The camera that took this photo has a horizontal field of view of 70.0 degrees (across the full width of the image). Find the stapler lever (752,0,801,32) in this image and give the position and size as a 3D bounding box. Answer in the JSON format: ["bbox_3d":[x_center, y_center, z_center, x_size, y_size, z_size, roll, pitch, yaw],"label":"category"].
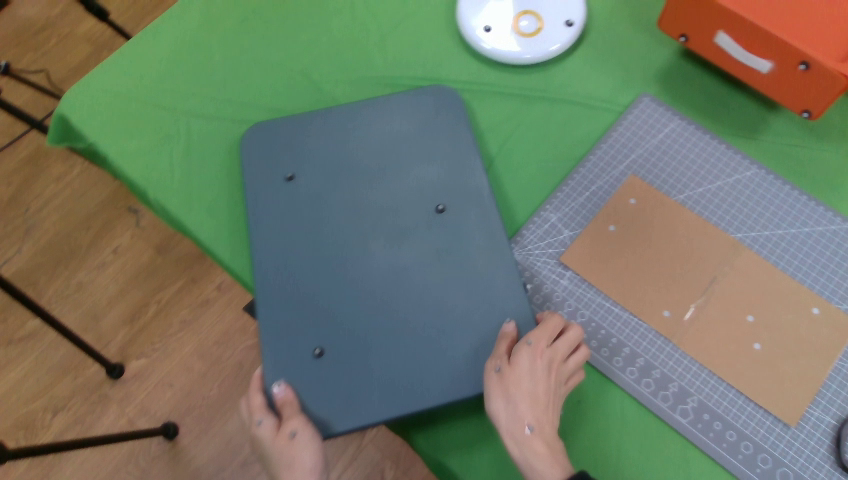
[{"bbox_3d":[0.361,-0.272,0.648,0.027,0.040,0.117,-23,64,11],"label":"stapler lever"}]

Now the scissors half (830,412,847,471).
[{"bbox_3d":[0.438,0.145,0.571,0.175,0.013,0.039,-43,52,-13],"label":"scissors half"}]

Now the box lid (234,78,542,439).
[{"bbox_3d":[-0.052,-0.002,0.625,0.263,0.015,0.368,-15,63,-2],"label":"box lid"}]

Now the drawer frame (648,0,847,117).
[{"bbox_3d":[0.392,-0.272,0.654,0.200,0.083,0.213,39,74,17],"label":"drawer frame"}]

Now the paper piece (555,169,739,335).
[{"bbox_3d":[0.232,0.007,0.635,0.135,0.009,0.138,37,76,19],"label":"paper piece"}]

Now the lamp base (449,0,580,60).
[{"bbox_3d":[0.104,-0.331,0.686,0.161,0.181,0.177,-15,65,-4],"label":"lamp base"}]

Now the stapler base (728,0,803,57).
[{"bbox_3d":[0.371,-0.263,0.671,0.041,0.024,0.129,-23,65,11],"label":"stapler base"}]

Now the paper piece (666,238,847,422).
[{"bbox_3d":[0.333,0.084,0.598,0.134,0.004,0.135,38,75,16],"label":"paper piece"}]

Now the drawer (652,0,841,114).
[{"bbox_3d":[0.392,-0.269,0.653,0.193,0.074,0.211,39,74,17],"label":"drawer"}]
